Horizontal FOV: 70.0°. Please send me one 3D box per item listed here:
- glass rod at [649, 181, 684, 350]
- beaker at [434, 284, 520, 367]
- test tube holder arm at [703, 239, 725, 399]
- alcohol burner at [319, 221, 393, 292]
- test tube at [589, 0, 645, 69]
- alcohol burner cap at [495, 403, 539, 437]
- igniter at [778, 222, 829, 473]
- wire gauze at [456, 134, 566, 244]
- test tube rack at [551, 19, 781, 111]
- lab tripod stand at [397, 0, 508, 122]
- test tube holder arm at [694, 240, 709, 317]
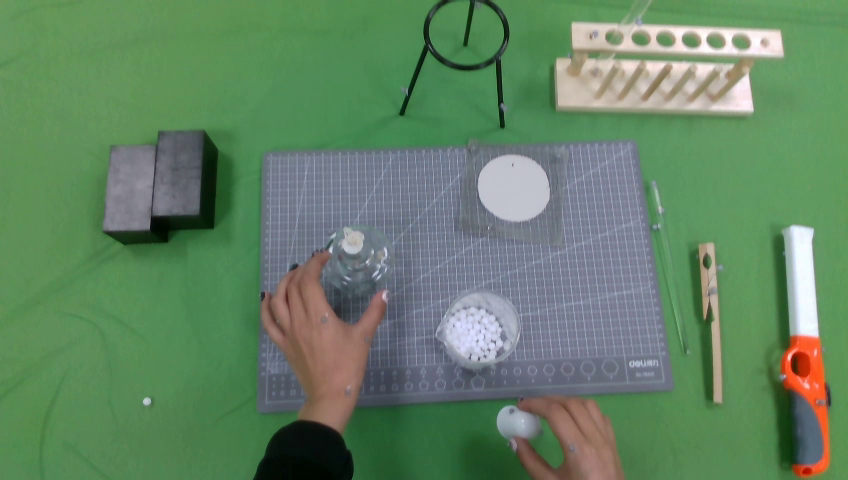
[{"bbox_3d":[0.279,0.027,0.698,0.008,0.008,0.198,-5,78,-4],"label":"glass rod"},{"bbox_3d":[0.050,0.093,0.622,0.084,0.101,0.073,-10,75,-4],"label":"beaker"},{"bbox_3d":[0.323,0.087,0.677,0.013,0.015,0.177,-9,73,32],"label":"test tube holder arm"},{"bbox_3d":[-0.073,0.013,0.631,0.078,0.119,0.077,0,74,1],"label":"alcohol burner"},{"bbox_3d":[0.215,-0.234,0.673,0.017,0.151,0.017,1,75,-4],"label":"test tube"},{"bbox_3d":[0.092,0.173,0.584,0.034,0.048,0.033,5,74,-17],"label":"alcohol burner cap"},{"bbox_3d":[0.417,0.114,0.671,0.057,0.025,0.275,8,75,-10],"label":"igniter"},{"bbox_3d":[0.104,-0.063,0.713,0.125,0.011,0.121,9,76,-1],"label":"wire gauze"},{"bbox_3d":[0.282,-0.206,0.720,0.242,0.085,0.066,1,75,-2],"label":"test tube rack"},{"bbox_3d":[0.036,-0.201,0.685,0.148,0.132,0.147,0,77,-2],"label":"lab tripod stand"},{"bbox_3d":[0.319,0.044,0.691,0.010,0.015,0.087,-9,73,32],"label":"test tube holder arm"}]
